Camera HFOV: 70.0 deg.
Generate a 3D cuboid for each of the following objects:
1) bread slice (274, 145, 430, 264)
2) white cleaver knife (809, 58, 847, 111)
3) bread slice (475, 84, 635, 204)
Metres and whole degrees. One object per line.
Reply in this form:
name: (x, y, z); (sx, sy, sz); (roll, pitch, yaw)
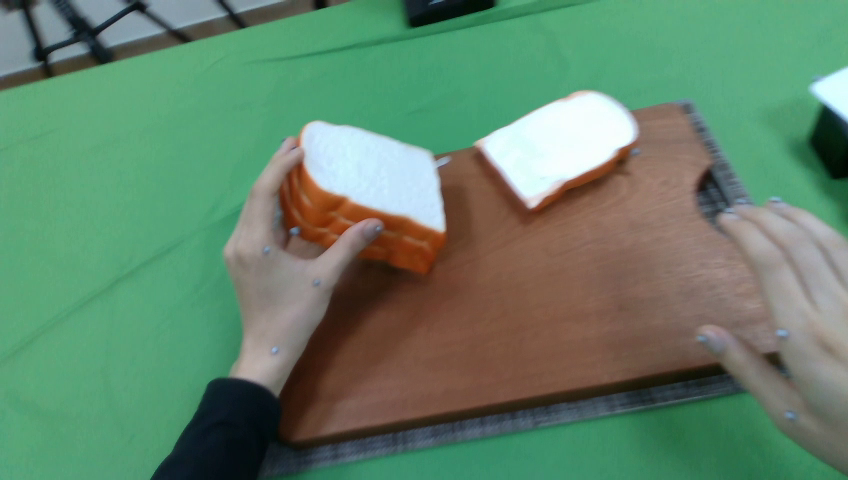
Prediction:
bread slice: (-0.060, -0.038, 0.520); (0.135, 0.018, 0.106); (13, 48, -22)
white cleaver knife: (0.402, -0.053, 0.452); (0.066, 0.022, 0.283); (-19, 55, -1)
bread slice: (0.128, -0.094, 0.562); (0.131, 0.019, 0.103); (-28, 50, -3)
